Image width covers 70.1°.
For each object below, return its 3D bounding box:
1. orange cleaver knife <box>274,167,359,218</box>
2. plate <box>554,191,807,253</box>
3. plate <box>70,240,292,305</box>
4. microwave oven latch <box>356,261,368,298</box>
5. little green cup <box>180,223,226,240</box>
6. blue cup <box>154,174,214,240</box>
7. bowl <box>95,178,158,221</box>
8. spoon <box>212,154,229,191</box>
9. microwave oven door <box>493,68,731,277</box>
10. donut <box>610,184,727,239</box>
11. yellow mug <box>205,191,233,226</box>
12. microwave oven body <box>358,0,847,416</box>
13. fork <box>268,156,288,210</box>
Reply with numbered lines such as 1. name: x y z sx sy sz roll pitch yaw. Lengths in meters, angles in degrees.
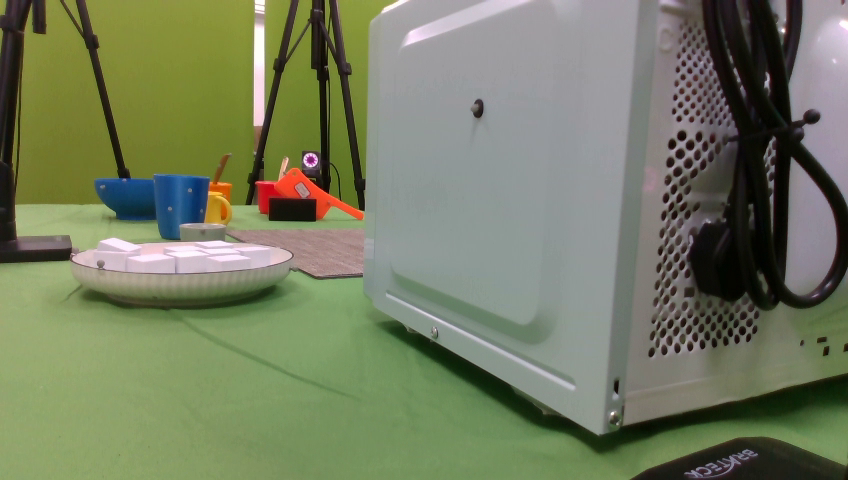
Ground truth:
1. orange cleaver knife: -0.238 -0.091 1.381 0.212 0.077 0.012 31 0 -19
2. plate: 0.221 -0.015 0.542 0.209 0.038 0.209 5 3 0
3. plate: -0.242 0.031 0.618 0.208 0.039 0.207 2 8 0
4. microwave oven latch: -0.019 0.033 0.529 0.079 0.029 0.030 0 7 -25
5. little green cup: -0.309 -0.001 0.846 0.061 0.038 0.061 2 8 0
6. blue cup: -0.391 -0.053 0.978 0.093 0.100 0.092 3 6 0
7. bowl: -0.576 -0.081 1.217 0.151 0.077 0.151 3 8 0
8. spoon: -0.431 -0.115 1.253 0.042 0.193 0.021 -3 54 -33
9. microwave oven door: 0.232 -0.098 0.836 0.039 0.243 0.354 -3 9 -36
10. donut: 0.217 -0.023 0.541 0.099 0.048 0.099 8 4 0
11. yellow mug: -0.415 -0.057 1.132 0.130 0.064 0.100 6 9 16
12. microwave oven body: 0.211 -0.047 0.474 0.444 0.260 0.324 -1 7 -28
13. fork: -0.360 -0.144 1.508 0.028 0.018 0.207 1 49 1
